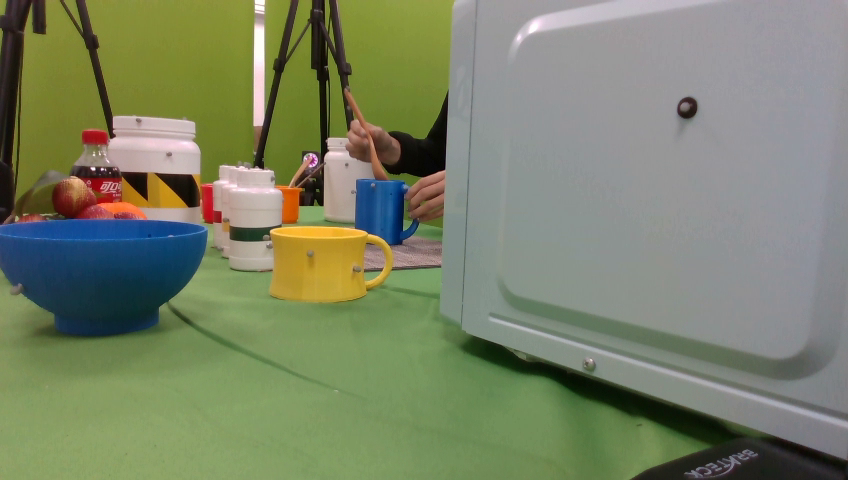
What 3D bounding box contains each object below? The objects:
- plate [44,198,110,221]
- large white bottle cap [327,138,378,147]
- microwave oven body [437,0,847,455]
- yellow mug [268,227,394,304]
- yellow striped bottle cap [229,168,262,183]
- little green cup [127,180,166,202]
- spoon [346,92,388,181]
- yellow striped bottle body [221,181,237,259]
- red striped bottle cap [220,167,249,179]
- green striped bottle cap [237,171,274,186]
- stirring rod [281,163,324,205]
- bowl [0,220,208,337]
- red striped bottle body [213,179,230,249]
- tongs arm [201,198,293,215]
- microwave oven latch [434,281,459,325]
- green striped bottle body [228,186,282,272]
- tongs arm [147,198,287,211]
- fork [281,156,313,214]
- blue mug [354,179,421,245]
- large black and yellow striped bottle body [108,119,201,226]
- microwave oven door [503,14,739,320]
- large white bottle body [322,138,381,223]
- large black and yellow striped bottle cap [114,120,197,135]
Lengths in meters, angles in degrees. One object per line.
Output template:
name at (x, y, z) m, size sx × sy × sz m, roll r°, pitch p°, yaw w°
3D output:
plate at (-0.617, -0.056, 1.179) m, size 0.209 × 0.038 × 0.209 m, roll 3°, pitch 7°, yaw 0°
large white bottle cap at (-0.160, -0.218, 1.357) m, size 0.115 × 0.018 × 0.115 m, roll 2°, pitch 8°, yaw 0°
microwave oven body at (0.279, -0.040, 0.464) m, size 0.444 × 0.260 × 0.324 m, roll -3°, pitch 9°, yaw -41°
yellow mug at (-0.094, 0.023, 0.630) m, size 0.131 × 0.064 × 0.099 m, roll 0°, pitch 8°, yaw -22°
yellow striped bottle cap at (-0.240, -0.087, 0.816) m, size 0.044 × 0.018 × 0.044 m, roll -3°, pitch 5°, yaw 1°
little green cup at (-0.485, -0.087, 1.062) m, size 0.061 × 0.038 × 0.061 m, roll 0°, pitch 7°, yaw 0°
spoon at (-0.092, -0.163, 1.017) m, size 0.022 × 0.193 × 0.041 m, roll -16°, pitch -11°, yaw -17°
yellow striped bottle body at (-0.244, -0.036, 0.823) m, size 0.063 × 0.120 × 0.063 m, roll 3°, pitch 8°, yaw 0°
red striped bottle cap at (-0.281, -0.100, 0.901) m, size 0.044 × 0.017 × 0.044 m, roll -1°, pitch 5°, yaw 0°
green striped bottle cap at (-0.205, -0.074, 0.738) m, size 0.044 × 0.020 × 0.044 m, roll 1°, pitch 8°, yaw 0°
stirring rod at (-0.278, -0.105, 1.293) m, size 0.176 × 0.006 × 0.014 m, roll -47°, pitch 25°, yaw -18°
bowl at (-0.251, 0.029, 0.479) m, size 0.151 × 0.077 × 0.151 m, roll 2°, pitch 7°, yaw 0°
red striped bottle body at (-0.284, -0.048, 0.909) m, size 0.063 × 0.119 × 0.063 m, roll 3°, pitch 10°, yaw 0°
tongs arm at (-0.423, -0.084, 1.472) m, size 0.050 × 0.026 × 0.386 m, roll 2°, pitch 6°, yaw 21°
microwave oven latch at (0.044, 0.045, 0.470) m, size 0.079 × 0.029 × 0.030 m, roll -2°, pitch 8°, yaw -39°
green striped bottle body at (-0.208, -0.023, 0.745) m, size 0.063 × 0.119 × 0.063 m, roll 2°, pitch 7°, yaw 0°
tongs arm at (-0.504, -0.091, 1.513) m, size 0.028 × 0.028 × 0.389 m, roll 0°, pitch 4°, yaw 37°
fork at (-0.289, -0.116, 1.320) m, size 0.028 × 0.019 × 0.207 m, roll -1°, pitch 48°, yaw 27°
blue mug at (-0.060, -0.047, 1.006) m, size 0.116 × 0.106 × 0.082 m, roll 5°, pitch 8°, yaw 20°
large black and yellow striped bottle body at (-0.412, -0.088, 0.930) m, size 0.131 × 0.184 × 0.130 m, roll 3°, pitch 7°, yaw 0°
microwave oven door at (0.218, -0.065, 0.600) m, size 0.358 × 0.243 × 0.039 m, roll -4°, pitch 10°, yaw -41°
large white bottle body at (-0.163, -0.135, 1.369) m, size 0.131 × 0.184 × 0.130 m, roll 2°, pitch 7°, yaw 0°
large black and yellow striped bottle cap at (-0.407, -0.171, 0.920) m, size 0.115 × 0.019 × 0.115 m, roll 2°, pitch 9°, yaw 0°
